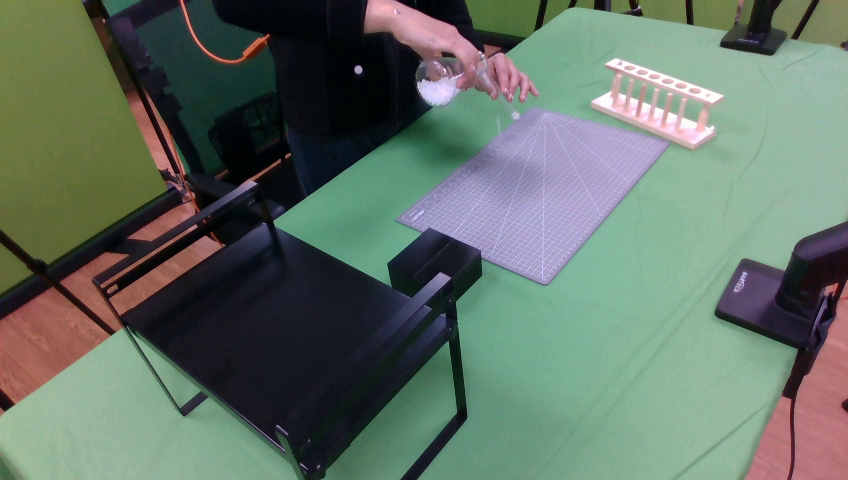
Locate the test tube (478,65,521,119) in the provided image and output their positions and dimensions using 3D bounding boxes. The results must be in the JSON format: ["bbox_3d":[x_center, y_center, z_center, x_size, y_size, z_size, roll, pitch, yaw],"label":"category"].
[{"bbox_3d":[0.131,-0.250,1.036,0.017,0.151,0.017,-14,62,28],"label":"test tube"}]

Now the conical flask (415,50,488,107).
[{"bbox_3d":[0.050,-0.259,0.932,0.074,0.075,0.122,26,45,33],"label":"conical flask"}]

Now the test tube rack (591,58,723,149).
[{"bbox_3d":[0.442,-0.269,1.171,0.067,0.085,0.240,-30,46,-24],"label":"test tube rack"}]
